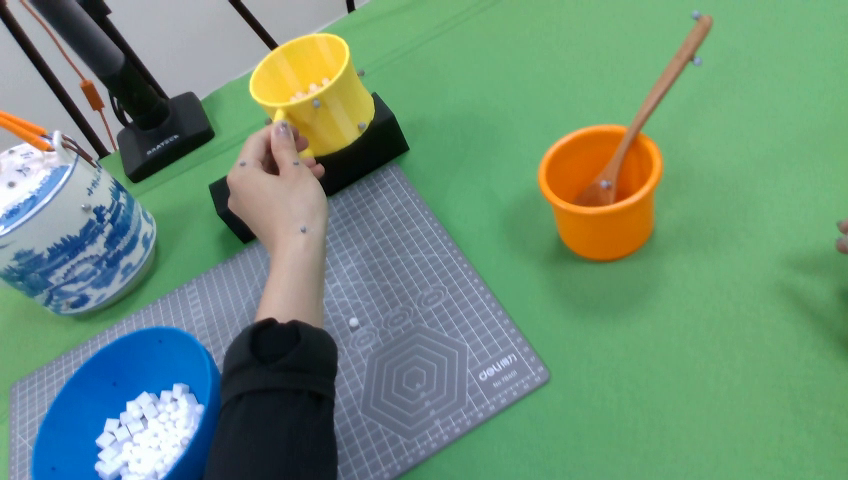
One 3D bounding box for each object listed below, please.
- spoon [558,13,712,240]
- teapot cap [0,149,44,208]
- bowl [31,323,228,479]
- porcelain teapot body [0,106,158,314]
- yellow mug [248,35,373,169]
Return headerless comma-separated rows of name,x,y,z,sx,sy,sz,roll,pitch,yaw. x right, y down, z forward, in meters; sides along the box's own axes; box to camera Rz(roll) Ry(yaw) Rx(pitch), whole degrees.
spoon,0.161,-0.081,0.467,0.022,0.194,0.041,3,36,-35
teapot cap,-0.396,-0.056,0.564,0.085,0.044,0.084,-12,52,16
bowl,-0.212,0.149,0.476,0.151,0.077,0.150,-11,50,13
porcelain teapot body,-0.409,-0.022,0.594,0.205,0.228,0.143,-27,49,1
yellow mug,-0.110,-0.124,0.568,0.099,0.064,0.130,1,56,21
